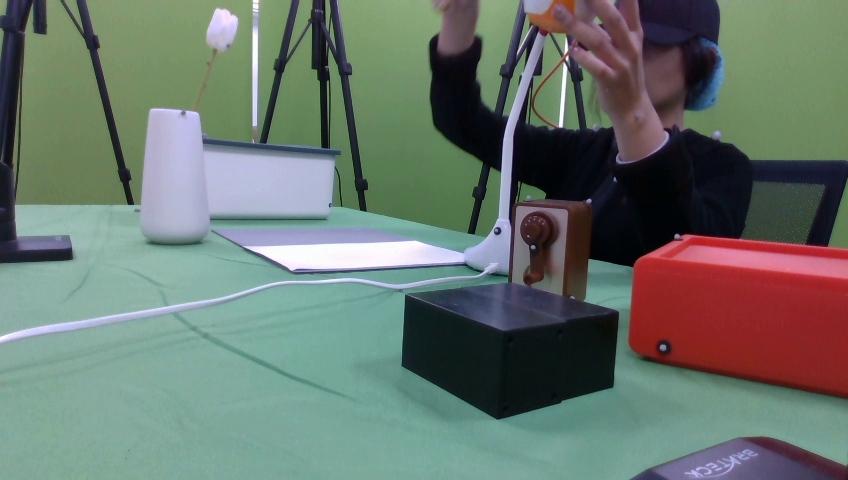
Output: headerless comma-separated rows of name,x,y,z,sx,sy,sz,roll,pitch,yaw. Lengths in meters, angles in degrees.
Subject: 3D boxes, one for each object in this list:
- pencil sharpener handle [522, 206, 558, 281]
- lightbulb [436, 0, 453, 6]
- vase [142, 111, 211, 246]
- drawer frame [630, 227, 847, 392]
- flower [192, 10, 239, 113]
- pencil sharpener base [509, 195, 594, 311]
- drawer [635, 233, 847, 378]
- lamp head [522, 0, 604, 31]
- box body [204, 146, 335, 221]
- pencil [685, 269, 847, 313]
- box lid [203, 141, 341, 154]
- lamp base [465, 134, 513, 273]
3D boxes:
pencil sharpener handle,0.102,0.003,0.555,0.036,0.067,0.031,0,5,31
lightbulb,0.027,-0.360,0.783,0.059,0.107,0.059,0,16,0
vase,-0.378,-0.093,0.920,0.098,0.200,0.098,2,9,0
drawer frame,0.292,0.043,0.484,0.201,0.082,0.214,7,9,29
flower,-0.354,-0.174,0.915,0.038,0.361,0.044,18,-3,12
pencil sharpener base,0.126,0.011,0.601,0.061,0.107,0.077,7,9,30
drawer,0.292,0.045,0.488,0.193,0.073,0.213,7,9,30
lamp head,0.148,-0.281,0.627,0.112,0.123,0.112,13,18,-4
box body,-0.411,-0.135,1.386,0.366,0.160,0.253,-2,9,-29
pencil,0.308,0.045,0.516,0.194,0.012,0.012,13,5,-11
box lid,-0.396,-0.212,1.373,0.373,0.015,0.262,-1,9,-29
lamp base,0.132,-0.052,0.808,0.160,0.180,0.180,6,12,26
